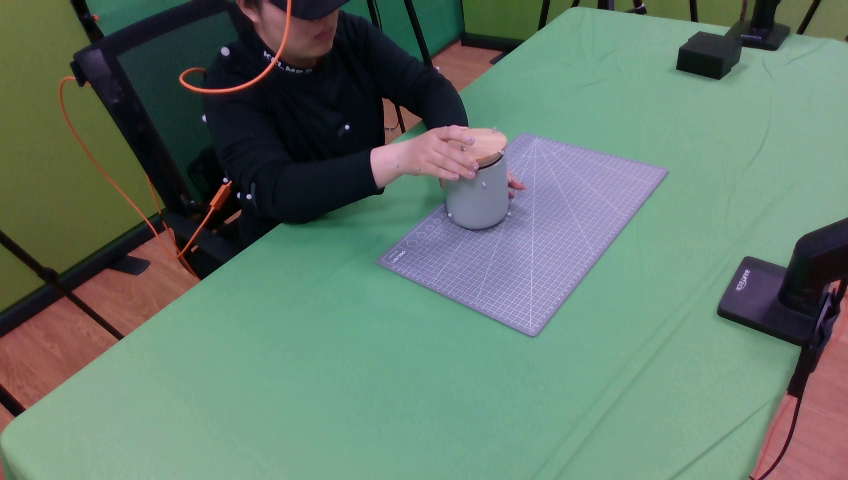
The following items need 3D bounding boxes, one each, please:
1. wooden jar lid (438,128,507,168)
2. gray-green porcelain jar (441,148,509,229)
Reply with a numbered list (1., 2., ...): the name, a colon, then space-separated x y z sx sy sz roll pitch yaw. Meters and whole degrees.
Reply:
1. wooden jar lid: 0.076 -0.142 0.939 0.108 0.021 0.108 -6 35 5
2. gray-green porcelain jar: 0.086 -0.090 0.988 0.106 0.127 0.105 -5 40 5
